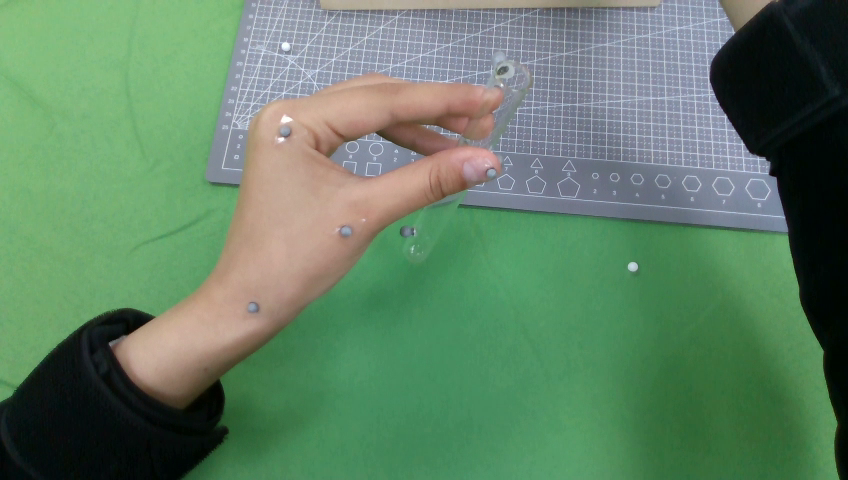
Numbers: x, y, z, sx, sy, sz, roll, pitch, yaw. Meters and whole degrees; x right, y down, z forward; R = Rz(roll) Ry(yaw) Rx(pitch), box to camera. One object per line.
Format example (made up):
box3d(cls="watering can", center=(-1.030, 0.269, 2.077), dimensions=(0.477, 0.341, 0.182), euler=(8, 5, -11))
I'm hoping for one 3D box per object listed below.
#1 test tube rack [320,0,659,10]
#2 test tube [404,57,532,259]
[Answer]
box3d(cls="test tube rack", center=(0.047, -0.212, 0.408), dimensions=(0.242, 0.085, 0.066), euler=(-1, 71, -1))
box3d(cls="test tube", center=(0.014, -0.028, 0.285), dimensions=(0.017, 0.151, 0.017), euler=(7, 61, -13))
